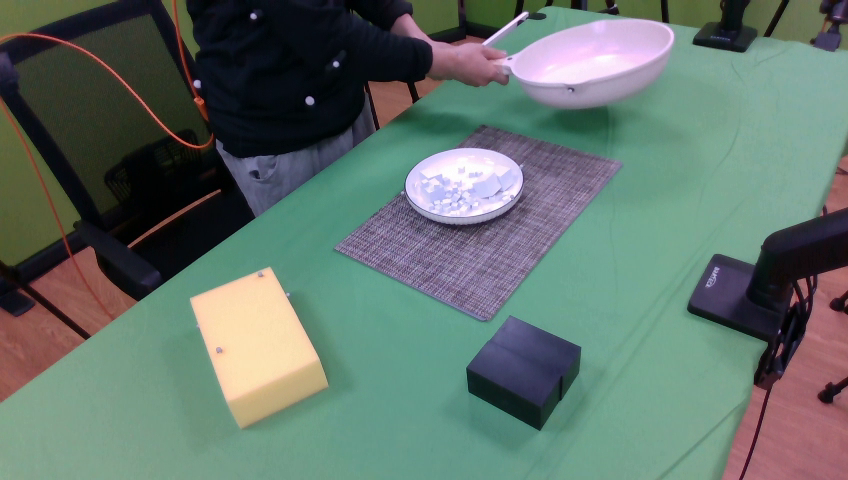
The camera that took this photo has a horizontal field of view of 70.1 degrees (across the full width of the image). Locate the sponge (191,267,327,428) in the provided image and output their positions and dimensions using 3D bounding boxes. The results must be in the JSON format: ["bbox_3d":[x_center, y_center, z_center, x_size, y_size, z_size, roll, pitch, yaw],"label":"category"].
[{"bbox_3d":[-0.226,0.135,0.814,0.119,0.061,0.205,-23,43,-19],"label":"sponge"}]

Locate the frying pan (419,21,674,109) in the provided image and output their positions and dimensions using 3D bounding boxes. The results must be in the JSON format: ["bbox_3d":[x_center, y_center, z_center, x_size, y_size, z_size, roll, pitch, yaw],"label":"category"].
[{"bbox_3d":[0.219,-0.341,1.171,0.485,0.103,0.307,8,39,20],"label":"frying pan"}]

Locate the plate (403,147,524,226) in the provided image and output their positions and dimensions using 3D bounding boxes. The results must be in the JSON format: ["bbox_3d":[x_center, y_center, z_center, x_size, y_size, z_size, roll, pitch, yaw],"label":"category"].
[{"bbox_3d":[0.069,-0.089,1.044,0.207,0.039,0.206,-4,41,4],"label":"plate"}]
